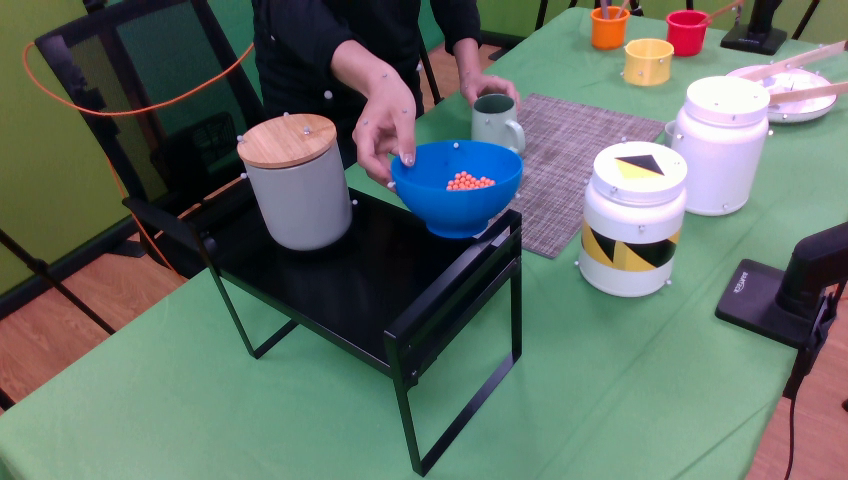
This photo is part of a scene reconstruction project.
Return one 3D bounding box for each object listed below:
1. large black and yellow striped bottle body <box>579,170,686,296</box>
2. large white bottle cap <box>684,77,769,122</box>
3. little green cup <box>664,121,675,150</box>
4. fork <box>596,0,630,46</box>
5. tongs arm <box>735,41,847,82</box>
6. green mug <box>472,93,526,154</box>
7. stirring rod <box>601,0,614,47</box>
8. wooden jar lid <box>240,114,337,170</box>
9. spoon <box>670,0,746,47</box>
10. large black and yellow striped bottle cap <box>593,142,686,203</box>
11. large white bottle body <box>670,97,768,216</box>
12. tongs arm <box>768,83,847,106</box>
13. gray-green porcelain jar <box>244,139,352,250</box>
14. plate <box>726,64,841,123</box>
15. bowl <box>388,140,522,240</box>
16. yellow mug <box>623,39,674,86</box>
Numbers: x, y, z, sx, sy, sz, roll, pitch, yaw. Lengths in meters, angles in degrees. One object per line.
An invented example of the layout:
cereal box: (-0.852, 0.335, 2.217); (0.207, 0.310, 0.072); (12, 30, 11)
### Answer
large black and yellow striped bottle body: (0.287, -0.027, 0.842); (0.131, 0.185, 0.130); (-4, 41, 4)
large white bottle cap: (0.448, -0.210, 0.898); (0.115, 0.018, 0.114); (-4, 40, 4)
little green cup: (0.472, -0.188, 1.113); (0.061, 0.039, 0.061); (-5, 40, 5)
fork: (0.481, -0.556, 1.453); (0.028, 0.019, 0.207); (40, 103, 38)
tongs arm: (0.712, -0.332, 1.194); (0.386, 0.026, 0.050); (-18, 45, -16)
green mug: (0.144, -0.202, 1.122); (0.093, 0.105, 0.124); (-29, 45, -23)
stirring rod: (0.439, -0.552, 1.463); (0.014, 0.006, 0.175); (-7, 83, 3)
wooden jar lid: (-0.149, -0.106, 0.673); (0.108, 0.021, 0.108); (-6, 39, 5)
spoon: (0.629, -0.485, 1.350); (0.022, 0.193, 0.042); (48, 54, -7)
large black and yellow striped bottle cap: (0.280, -0.090, 0.786); (0.115, 0.019, 0.114); (-5, 41, 5)
large white bottle body: (0.458, -0.146, 0.952); (0.130, 0.185, 0.130); (-4, 40, 4)
tongs arm: (0.738, -0.281, 1.134); (0.388, 0.028, 0.028); (-9, 47, -5)
gray-green porcelain jar: (-0.144, -0.060, 0.714); (0.106, 0.127, 0.105); (-4, 41, 4)
plate: (0.695, -0.282, 1.189); (0.207, 0.039, 0.206); (-4, 40, 4)
bowl: (0.036, -0.052, 0.694); (0.151, 0.077, 0.151); (-2, 30, 2)
yellow mug: (0.485, -0.398, 1.334); (0.100, 0.064, 0.130); (-18, 41, -11)
